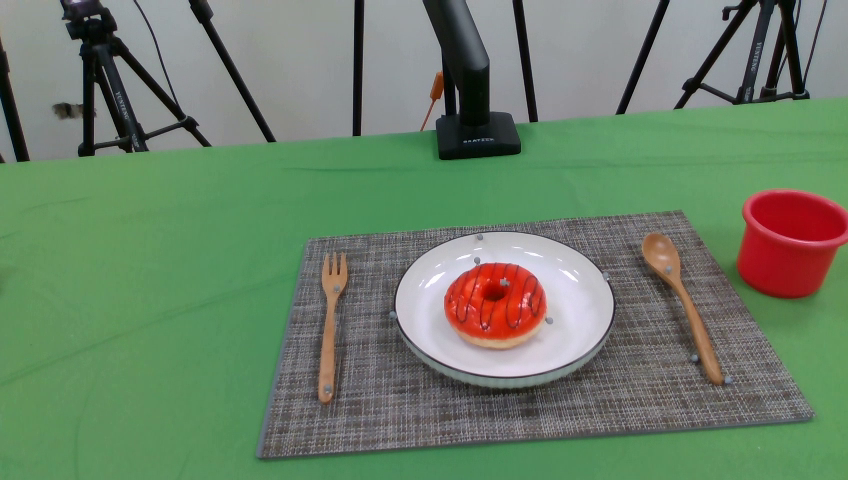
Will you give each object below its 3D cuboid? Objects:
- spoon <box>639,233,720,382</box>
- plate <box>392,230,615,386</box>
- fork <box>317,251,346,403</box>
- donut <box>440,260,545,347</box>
[{"bbox_3d":[0.248,0.057,0.587,0.042,0.022,0.192,12,36,-8],"label":"spoon"},{"bbox_3d":[0.075,0.064,0.585,0.209,0.038,0.207,-3,36,3],"label":"plate"},{"bbox_3d":[-0.094,0.077,0.603,0.028,0.019,0.205,0,35,-5],"label":"fork"},{"bbox_3d":[0.065,0.059,0.575,0.099,0.049,0.098,-4,39,4],"label":"donut"}]
